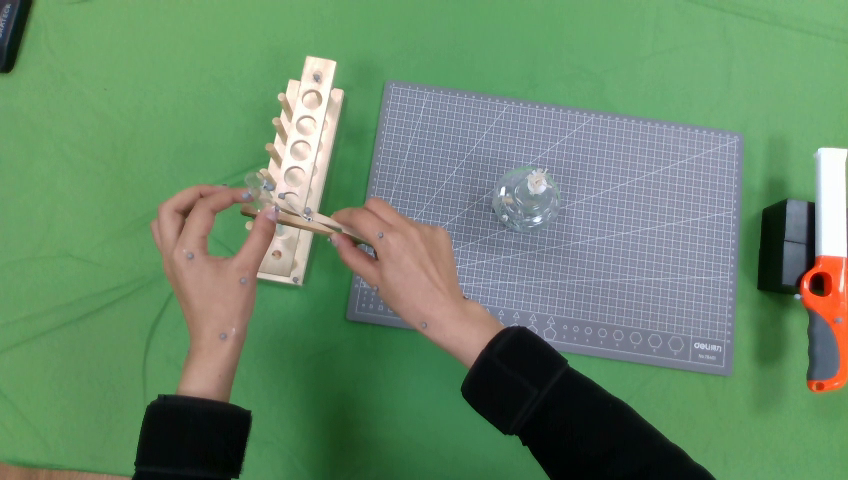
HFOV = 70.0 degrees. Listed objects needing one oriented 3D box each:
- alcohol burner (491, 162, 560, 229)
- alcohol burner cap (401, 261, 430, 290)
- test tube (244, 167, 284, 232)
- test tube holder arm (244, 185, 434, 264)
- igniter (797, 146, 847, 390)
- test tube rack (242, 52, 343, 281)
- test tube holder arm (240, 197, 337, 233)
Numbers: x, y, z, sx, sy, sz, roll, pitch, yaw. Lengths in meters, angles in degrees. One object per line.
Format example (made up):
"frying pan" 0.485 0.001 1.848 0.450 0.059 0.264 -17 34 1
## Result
"alcohol burner" 0.115 -0.053 0.670 0.078 0.119 0.077 0 81 -2
"alcohol burner cap" -0.008 0.039 0.684 0.034 0.048 0.033 1 79 -5
"test tube" -0.141 -0.032 0.541 0.017 0.150 0.017 2 75 -6
"test tube holder arm" -0.075 -0.013 0.545 0.178 0.015 0.013 19 79 -3
"igniter" 0.446 0.028 0.671 0.057 0.025 0.275 6 79 11
"test tube rack" -0.152 -0.082 0.680 0.067 0.085 0.241 11 80 0
"test tube holder arm" -0.120 -0.022 0.541 0.088 0.015 0.010 14 79 -4
